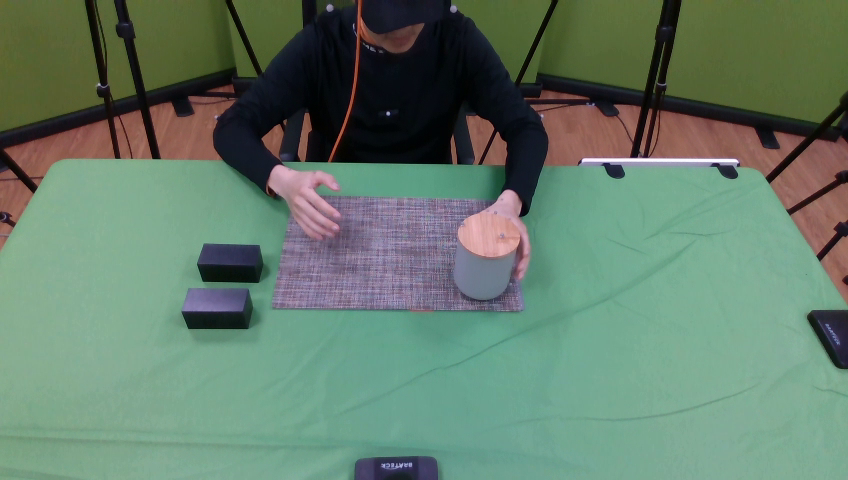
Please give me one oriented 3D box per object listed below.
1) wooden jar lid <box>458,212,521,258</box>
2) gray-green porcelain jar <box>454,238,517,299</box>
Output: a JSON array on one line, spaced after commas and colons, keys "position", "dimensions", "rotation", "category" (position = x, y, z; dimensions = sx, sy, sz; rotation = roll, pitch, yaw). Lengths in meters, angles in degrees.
[{"position": [0.112, -0.006, 1.048], "dimensions": [0.108, 0.021, 0.107], "rotation": [0, 45, 0], "category": "wooden jar lid"}, {"position": [0.109, 0.036, 1.092], "dimensions": [0.106, 0.127, 0.105], "rotation": [2, 47, -2], "category": "gray-green porcelain jar"}]
